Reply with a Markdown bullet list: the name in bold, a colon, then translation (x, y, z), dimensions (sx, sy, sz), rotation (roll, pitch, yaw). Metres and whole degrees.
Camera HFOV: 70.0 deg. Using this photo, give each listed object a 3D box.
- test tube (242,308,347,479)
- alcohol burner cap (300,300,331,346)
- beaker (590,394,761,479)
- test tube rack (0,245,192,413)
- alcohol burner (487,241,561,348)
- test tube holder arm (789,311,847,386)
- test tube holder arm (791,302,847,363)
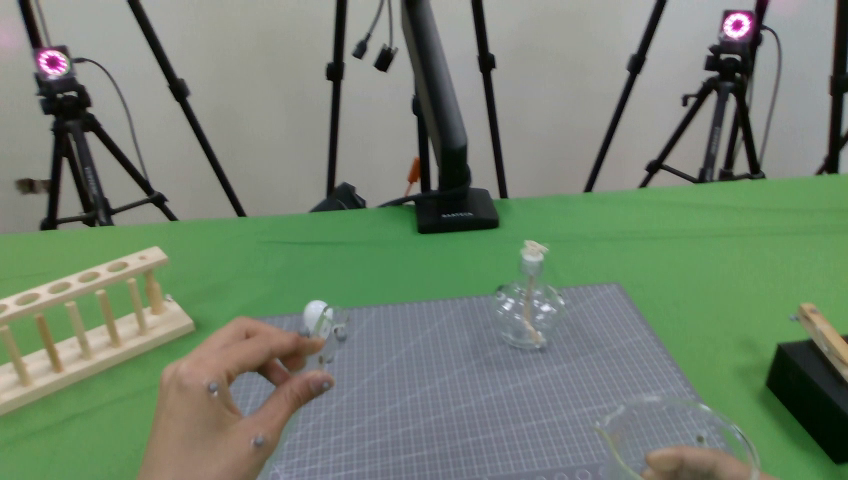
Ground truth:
- **test tube**: translation (-0.081, 0.099, 0.365), dimensions (0.017, 0.151, 0.017), rotation (23, 27, -12)
- **alcohol burner cap**: translation (-0.119, 0.087, 0.655), dimensions (0.034, 0.048, 0.033), rotation (-2, 29, 1)
- **beaker**: translation (0.129, 0.147, 0.336), dimensions (0.083, 0.101, 0.074), rotation (13, 30, 24)
- **test tube rack**: translation (-0.377, 0.095, 0.621), dimensions (0.243, 0.086, 0.066), rotation (-24, 37, -34)
- **alcohol burner**: translation (0.105, 0.052, 0.628), dimensions (0.078, 0.120, 0.077), rotation (0, 30, 0)
- **test tube holder arm**: translation (0.357, 0.111, 0.509), dimensions (0.015, 0.013, 0.177), rotation (0, 29, 3)
- **test tube holder arm**: translation (0.359, 0.084, 0.545), dimensions (0.015, 0.010, 0.087), rotation (0, 30, 3)
